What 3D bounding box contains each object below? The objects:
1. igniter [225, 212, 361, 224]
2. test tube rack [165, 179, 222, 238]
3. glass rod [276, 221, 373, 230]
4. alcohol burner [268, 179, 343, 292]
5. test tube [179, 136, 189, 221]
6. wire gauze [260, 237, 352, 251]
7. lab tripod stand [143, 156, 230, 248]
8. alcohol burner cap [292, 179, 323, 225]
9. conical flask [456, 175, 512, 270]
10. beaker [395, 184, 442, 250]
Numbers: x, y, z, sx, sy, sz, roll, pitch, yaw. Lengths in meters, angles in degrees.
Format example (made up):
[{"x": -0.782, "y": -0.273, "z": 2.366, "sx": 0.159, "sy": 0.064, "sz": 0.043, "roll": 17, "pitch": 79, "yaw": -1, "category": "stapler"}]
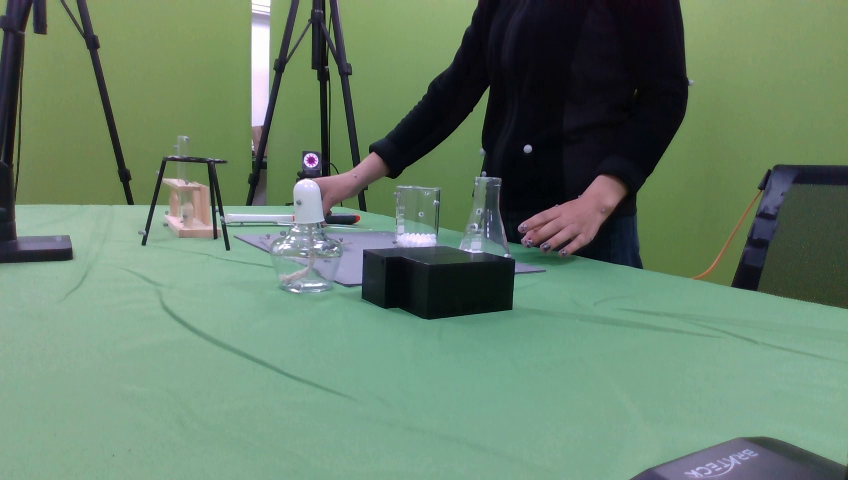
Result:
[{"x": -0.262, "y": -0.045, "z": 1.240, "sx": 0.278, "sy": 0.025, "sz": 0.057, "roll": -2, "pitch": -1, "yaw": -31, "category": "igniter"}, {"x": -0.423, "y": -0.062, "z": 1.098, "sx": 0.067, "sy": 0.085, "sz": 0.241, "roll": -2, "pitch": 9, "yaw": -28, "category": "test tube rack"}, {"x": -0.190, "y": -0.027, "z": 1.178, "sx": 0.201, "sy": 0.008, "sz": 0.008, "roll": 3, "pitch": 5, "yaw": -31, "category": "glass rod"}, {"x": -0.124, "y": -0.005, "z": 0.637, "sx": 0.078, "sy": 0.119, "sz": 0.078, "roll": 4, "pitch": 8, "yaw": 0, "category": "alcohol burner"}, {"x": -0.425, "y": -0.108, "z": 1.070, "sx": 0.017, "sy": 0.150, "sz": 0.017, "roll": 4, "pitch": 9, "yaw": 0, "category": "test tube"}, {"x": -0.184, "y": 0.004, "z": 0.938, "sx": 0.122, "sy": 0.011, "sz": 0.124, "roll": -1, "pitch": 5, "yaw": -24, "category": "wire gauze"}, {"x": -0.338, "y": -0.058, "z": 0.908, "sx": 0.148, "sy": 0.131, "sz": 0.148, "roll": 4, "pitch": 7, "yaw": 0, "category": "lab tripod stand"}, {"x": -0.124, "y": -0.040, "z": 0.632, "sx": 0.034, "sy": 0.048, "sz": 0.034, "roll": -3, "pitch": 10, "yaw": 1, "category": "alcohol burner cap"}, {"x": 0.082, "y": -0.025, "z": 0.801, "sx": 0.075, "sy": 0.122, "sz": 0.075, "roll": 2, "pitch": 7, "yaw": 0, "category": "conical flask"}, {"x": -0.009, "y": -0.038, "z": 0.968, "sx": 0.074, "sy": 0.100, "sz": 0.084, "roll": 6, "pitch": 8, "yaw": 21, "category": "beaker"}]
